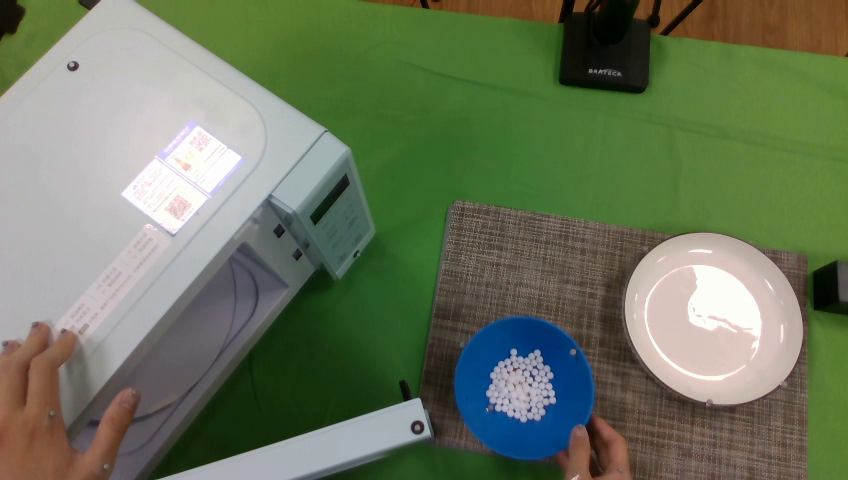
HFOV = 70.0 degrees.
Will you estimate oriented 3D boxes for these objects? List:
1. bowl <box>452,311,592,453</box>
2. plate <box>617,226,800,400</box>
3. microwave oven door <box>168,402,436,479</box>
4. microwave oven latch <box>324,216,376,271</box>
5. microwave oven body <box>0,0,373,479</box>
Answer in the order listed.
[{"bbox_3d":[0.106,0.160,0.684,0.151,0.077,0.150,0,73,1],"label":"bowl"},{"bbox_3d":[0.333,0.087,0.723,0.208,0.039,0.206,0,73,1],"label":"plate"},{"bbox_3d":[-0.164,0.219,0.570,0.356,0.245,0.039,-17,72,-4],"label":"microwave oven door"},{"bbox_3d":[-0.092,-0.002,0.743,0.030,0.029,0.079,36,78,11],"label":"microwave oven latch"},{"bbox_3d":[-0.319,0.024,0.639,0.325,0.261,0.441,35,77,11],"label":"microwave oven body"}]
